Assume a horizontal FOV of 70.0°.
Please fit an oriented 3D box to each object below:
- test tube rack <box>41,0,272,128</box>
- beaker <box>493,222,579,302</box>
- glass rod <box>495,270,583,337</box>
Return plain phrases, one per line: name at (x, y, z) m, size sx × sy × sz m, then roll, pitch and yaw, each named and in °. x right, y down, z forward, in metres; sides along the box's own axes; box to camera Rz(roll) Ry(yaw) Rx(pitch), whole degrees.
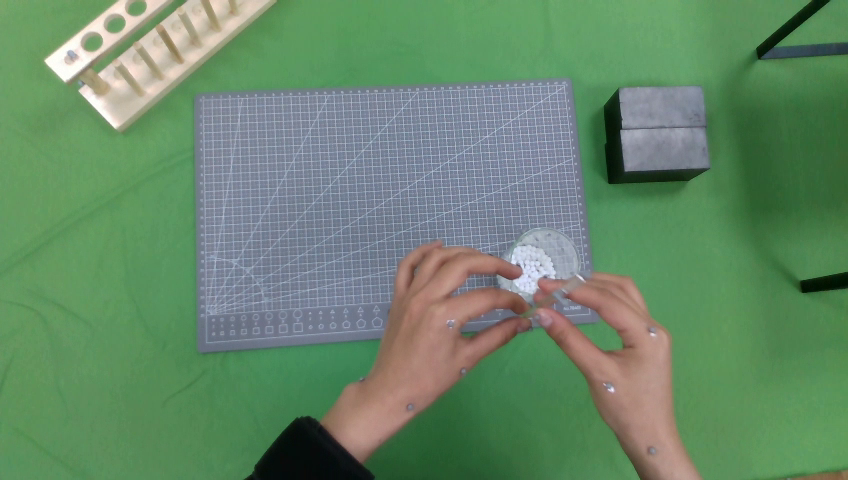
test tube rack at (-0.286, -0.242, 0.675) m, size 0.066 × 0.085 × 0.242 m, roll 45°, pitch 80°, yaw 5°
beaker at (0.114, 0.030, 0.652) m, size 0.084 × 0.100 × 0.074 m, roll -41°, pitch 85°, yaw -9°
glass rod at (0.081, 0.054, 0.466) m, size 0.008 × 0.200 × 0.008 m, roll 3°, pitch 70°, yaw -8°
